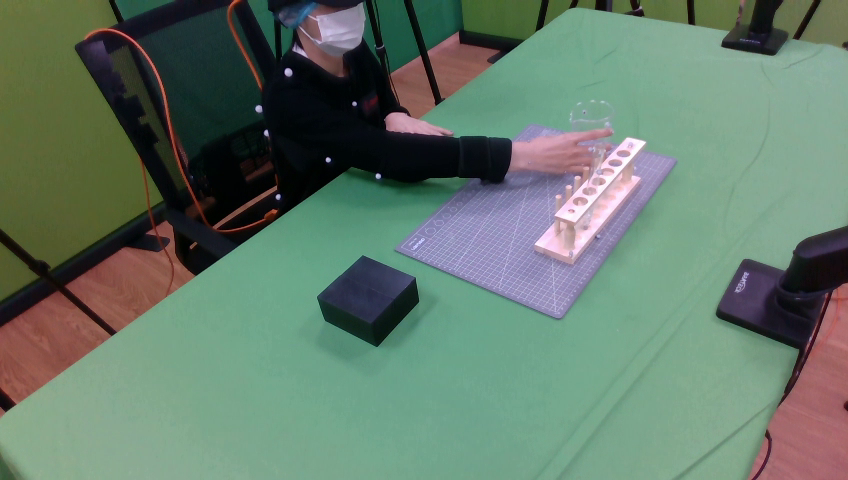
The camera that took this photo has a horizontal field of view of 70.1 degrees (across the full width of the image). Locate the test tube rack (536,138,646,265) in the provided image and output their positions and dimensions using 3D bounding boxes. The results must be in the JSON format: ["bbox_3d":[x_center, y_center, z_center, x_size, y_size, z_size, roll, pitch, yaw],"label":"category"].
[{"bbox_3d":[0.268,-0.071,0.964,0.066,0.085,0.243,23,49,32],"label":"test tube rack"}]

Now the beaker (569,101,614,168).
[{"bbox_3d":[0.297,-0.186,1.086,0.084,0.101,0.073,-22,41,-15],"label":"beaker"}]

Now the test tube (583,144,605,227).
[{"bbox_3d":[0.251,-0.077,0.896,0.017,0.151,0.017,-3,43,3],"label":"test tube"}]
